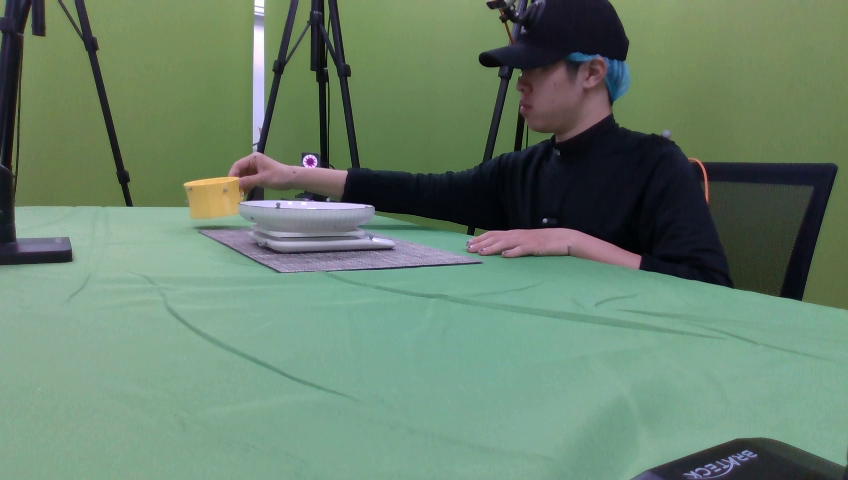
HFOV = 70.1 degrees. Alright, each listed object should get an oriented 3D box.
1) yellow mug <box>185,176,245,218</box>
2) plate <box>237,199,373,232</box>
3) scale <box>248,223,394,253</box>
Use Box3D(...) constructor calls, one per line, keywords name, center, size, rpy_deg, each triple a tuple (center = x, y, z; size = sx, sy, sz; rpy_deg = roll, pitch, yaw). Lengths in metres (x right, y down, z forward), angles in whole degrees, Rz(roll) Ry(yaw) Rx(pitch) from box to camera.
Box3D(name="yellow mug", center=(-0.392, -0.087, 1.168), size=(0.099, 0.064, 0.131), rpy_deg=(0, 13, 24))
Box3D(name="plate", center=(-0.183, -0.039, 0.941), size=(0.209, 0.038, 0.209), rpy_deg=(3, 7, 0))
Box3D(name="scale", center=(-0.162, -0.006, 0.954), size=(0.202, 0.031, 0.148), rpy_deg=(-1, 9, -32))
